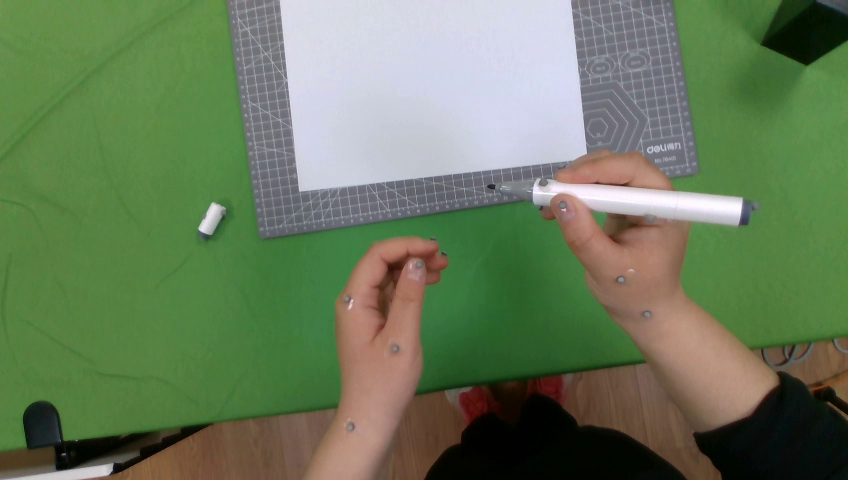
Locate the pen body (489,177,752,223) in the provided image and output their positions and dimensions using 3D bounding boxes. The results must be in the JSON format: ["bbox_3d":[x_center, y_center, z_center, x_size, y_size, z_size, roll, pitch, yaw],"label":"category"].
[{"bbox_3d":[0.105,-0.024,0.345,0.143,0.017,0.017,8,90,22],"label":"pen body"}]

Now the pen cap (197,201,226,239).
[{"bbox_3d":[-0.223,-0.020,0.633,0.017,0.017,0.038,30,92,5],"label":"pen cap"}]
